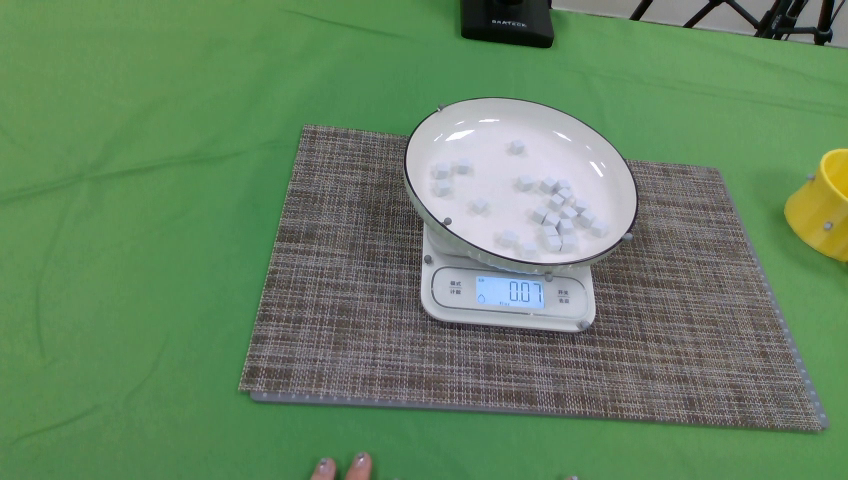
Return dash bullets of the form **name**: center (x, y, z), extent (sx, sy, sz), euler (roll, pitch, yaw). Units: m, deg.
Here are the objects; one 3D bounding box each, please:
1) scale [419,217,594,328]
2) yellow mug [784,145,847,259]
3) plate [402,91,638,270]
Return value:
- **scale**: center (0.073, -0.016, 0.549), extent (0.149, 0.032, 0.199), euler (6, 50, -4)
- **yellow mug**: center (0.430, -0.027, 0.599), extent (0.100, 0.064, 0.129), euler (4, 51, -6)
- **plate**: center (0.083, -0.054, 0.539), extent (0.209, 0.038, 0.207), euler (5, 51, -6)
